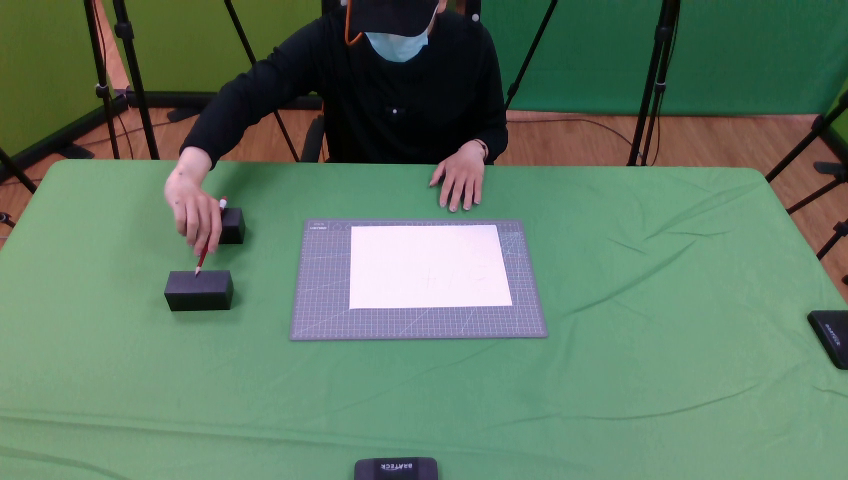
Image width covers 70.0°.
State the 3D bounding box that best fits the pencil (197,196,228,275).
[{"bbox_3d":[-0.389,-0.011,1.114,0.012,0.012,0.193,3,49,-1],"label":"pencil"}]
